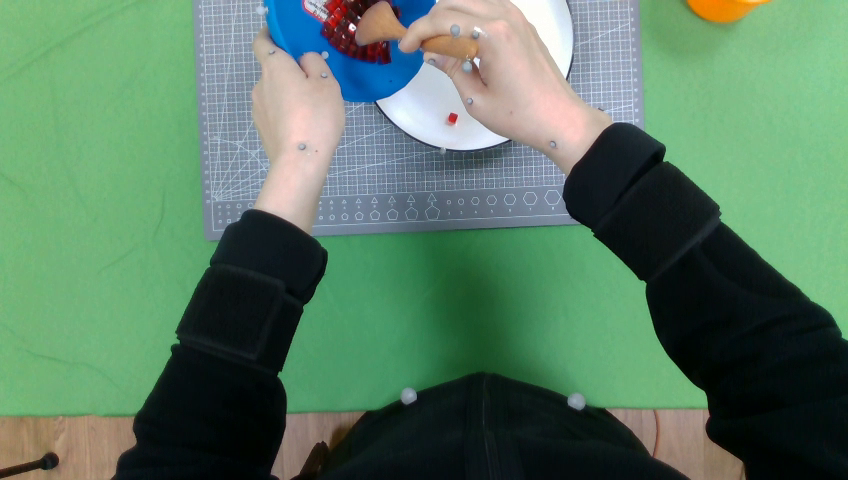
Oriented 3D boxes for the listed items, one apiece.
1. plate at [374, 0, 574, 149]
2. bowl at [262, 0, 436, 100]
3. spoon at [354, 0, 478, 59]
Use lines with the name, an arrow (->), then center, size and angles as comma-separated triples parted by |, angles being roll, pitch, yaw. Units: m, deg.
plate -> 0.040, -0.192, 0.593 | 0.209, 0.038, 0.209 | 0, 91, 3
bowl -> -0.072, -0.195, 0.503 | 0.152, 0.076, 0.152 | -13, 112, -35
spoon -> -0.010, -0.149, 0.435 | 0.022, 0.191, 0.041 | 31, 95, -38
